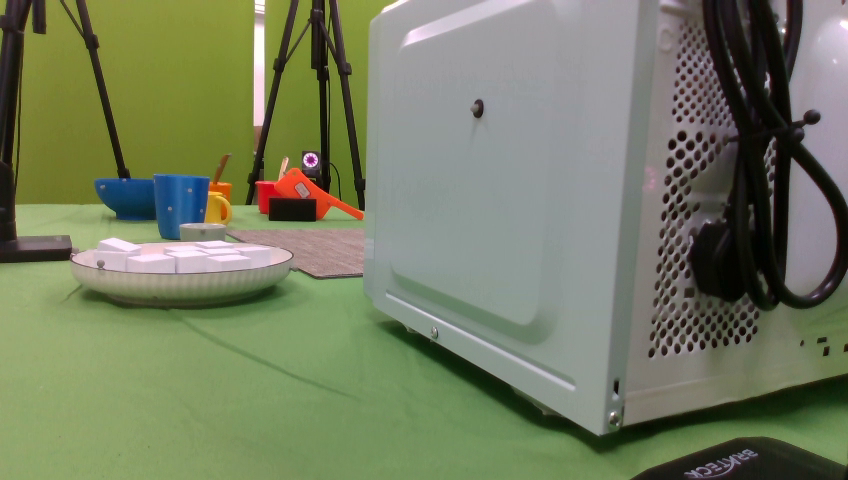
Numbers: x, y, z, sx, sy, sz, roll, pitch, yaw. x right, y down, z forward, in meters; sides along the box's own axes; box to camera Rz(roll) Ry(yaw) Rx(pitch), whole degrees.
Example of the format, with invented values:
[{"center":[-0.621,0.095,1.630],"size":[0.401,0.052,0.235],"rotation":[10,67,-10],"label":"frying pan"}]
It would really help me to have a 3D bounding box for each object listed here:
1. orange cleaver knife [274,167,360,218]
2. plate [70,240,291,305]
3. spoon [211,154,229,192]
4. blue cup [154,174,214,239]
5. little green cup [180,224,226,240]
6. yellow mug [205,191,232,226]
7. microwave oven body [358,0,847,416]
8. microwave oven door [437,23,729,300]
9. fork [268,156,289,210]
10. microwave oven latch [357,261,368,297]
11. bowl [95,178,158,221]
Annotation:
[{"center":[-0.238,-0.091,1.381],"size":[0.212,0.077,0.012],"rotation":[31,0,-19],"label":"orange cleaver knife"},{"center":[-0.242,0.031,0.618],"size":[0.208,0.039,0.207],"rotation":[2,8,0],"label":"plate"},{"center":[-0.431,-0.115,1.253],"size":[0.042,0.193,0.021],"rotation":[-3,53,-33],"label":"spoon"},{"center":[-0.391,-0.053,0.978],"size":[0.093,0.100,0.092],"rotation":[3,6,0],"label":"blue cup"},{"center":[-0.309,-0.001,0.846],"size":[0.061,0.038,0.061],"rotation":[2,8,0],"label":"little green cup"},{"center":[-0.415,-0.057,1.131],"size":[0.130,0.064,0.100],"rotation":[6,8,16],"label":"yellow mug"},{"center":[0.211,-0.047,0.474],"size":[0.444,0.260,0.324],"rotation":[-1,7,-28],"label":"microwave oven body"},{"center":[0.181,-0.072,0.621],"size":[0.358,0.243,0.039],"rotation":[-2,8,-29],"label":"microwave oven door"},{"center":[-0.360,-0.144,1.508],"size":[0.028,0.018,0.207],"rotation":[1,49,1],"label":"fork"},{"center":[-0.019,0.033,0.531],"size":[0.079,0.029,0.030],"rotation":[-1,7,-27],"label":"microwave oven latch"},{"center":[-0.576,-0.081,1.217],"size":[0.151,0.077,0.151],"rotation":[3,8,0],"label":"bowl"}]
